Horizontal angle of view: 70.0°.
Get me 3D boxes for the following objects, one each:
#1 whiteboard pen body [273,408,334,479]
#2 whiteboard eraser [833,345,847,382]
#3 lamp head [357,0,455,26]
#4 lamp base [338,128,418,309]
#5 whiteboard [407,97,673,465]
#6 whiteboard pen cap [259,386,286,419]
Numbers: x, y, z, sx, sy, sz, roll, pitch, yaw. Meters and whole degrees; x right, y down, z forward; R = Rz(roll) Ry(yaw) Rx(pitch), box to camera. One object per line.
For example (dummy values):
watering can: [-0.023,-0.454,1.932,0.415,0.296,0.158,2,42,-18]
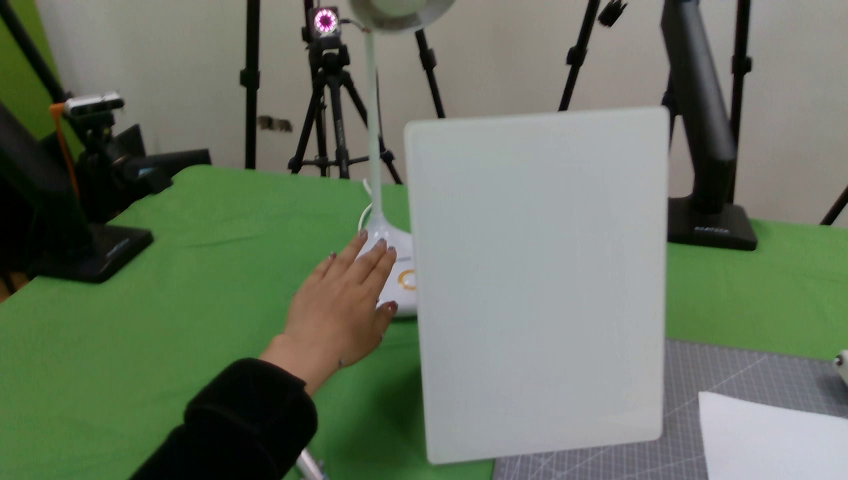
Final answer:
whiteboard pen body: [-0.109,0.184,0.538,0.017,0.017,0.139,-21,41,-29]
whiteboard eraser: [0.470,0.132,0.590,0.112,0.042,0.055,2,33,4]
lamp head: [-0.027,-0.271,0.542,0.113,0.113,0.121,-14,59,-20]
lamp base: [-0.037,-0.034,0.737,0.161,0.181,0.177,-20,35,-28]
whiteboard: [0.096,0.027,0.575,0.217,0.306,0.143,-4,13,-5]
whiteboard pen cap: [-0.144,0.156,0.577,0.018,0.018,0.033,-22,44,-30]
